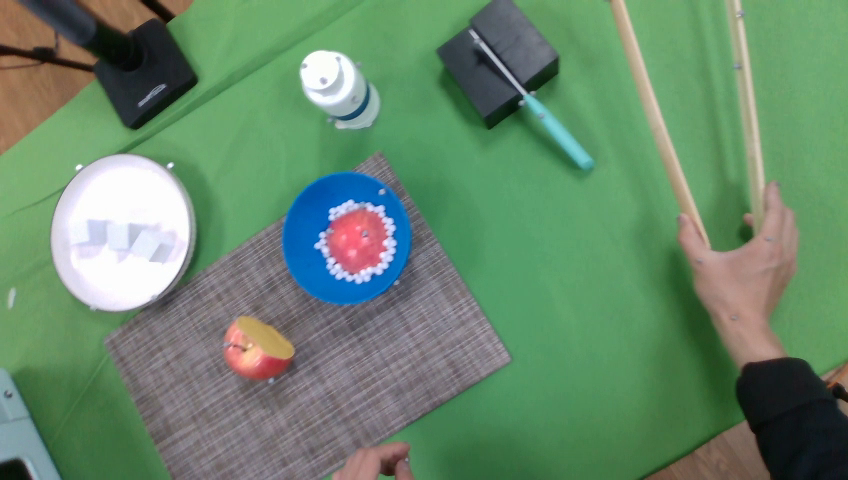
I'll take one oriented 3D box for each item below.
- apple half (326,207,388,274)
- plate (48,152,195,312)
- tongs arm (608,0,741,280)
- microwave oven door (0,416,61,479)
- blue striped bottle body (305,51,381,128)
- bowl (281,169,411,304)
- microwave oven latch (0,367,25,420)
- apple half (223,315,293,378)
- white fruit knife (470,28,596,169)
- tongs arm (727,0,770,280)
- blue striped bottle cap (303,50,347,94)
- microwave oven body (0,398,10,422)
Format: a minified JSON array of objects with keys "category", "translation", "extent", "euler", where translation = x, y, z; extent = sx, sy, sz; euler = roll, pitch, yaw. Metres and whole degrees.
[{"category":"apple half","translation":[-0.080,-0.001,0.700],"extent":[0.081,0.033,0.081],"euler":[-1,84,12]},{"category":"plate","translation":[-0.390,-0.009,0.793],"extent":[0.207,0.039,0.207],"euler":[-1,85,11]},{"category":"tongs arm","translation":[0.244,-0.138,0.625],"extent":[0.028,0.028,0.387],"euler":[-18,87,-5]},{"category":"microwave oven door","translation":[-0.461,0.373,0.653],"extent":[0.039,0.245,0.354],"euler":[-35,79,7]},{"category":"blue striped bottle body","translation":[-0.096,-0.176,0.704],"extent":[0.063,0.121,0.063],"euler":[-1,84,12]},{"category":"bowl","translation":[-0.080,-0.001,0.704],"extent":[0.151,0.077,0.151],"euler":[-1,85,12]},{"category":"microwave oven latch","translation":[-0.556,0.203,0.790],"extent":[0.030,0.029,0.079],"euler":[-34,80,6]},{"category":"apple half","translation":[-0.202,0.134,0.721],"extent":[0.080,0.075,0.053],"euler":[38,97,9]},{"category":"white fruit knife","translation":[0.121,-0.157,0.676],"extent":[0.016,0.027,0.208],"euler":[-41,95,24]},{"category":"tongs arm","translation":[0.315,-0.152,0.625],"extent":[0.051,0.026,0.384],"euler":[-8,87,-2]},{"category":"blue striped bottle cap","translation":[-0.107,-0.182,0.655],"extent":[0.044,0.021,0.044],"euler":[0,87,10]},{"category":"microwave oven body","translation":[-0.602,0.422,0.682],"extent":[0.326,0.261,0.440],"euler":[-34,80,6]}]
